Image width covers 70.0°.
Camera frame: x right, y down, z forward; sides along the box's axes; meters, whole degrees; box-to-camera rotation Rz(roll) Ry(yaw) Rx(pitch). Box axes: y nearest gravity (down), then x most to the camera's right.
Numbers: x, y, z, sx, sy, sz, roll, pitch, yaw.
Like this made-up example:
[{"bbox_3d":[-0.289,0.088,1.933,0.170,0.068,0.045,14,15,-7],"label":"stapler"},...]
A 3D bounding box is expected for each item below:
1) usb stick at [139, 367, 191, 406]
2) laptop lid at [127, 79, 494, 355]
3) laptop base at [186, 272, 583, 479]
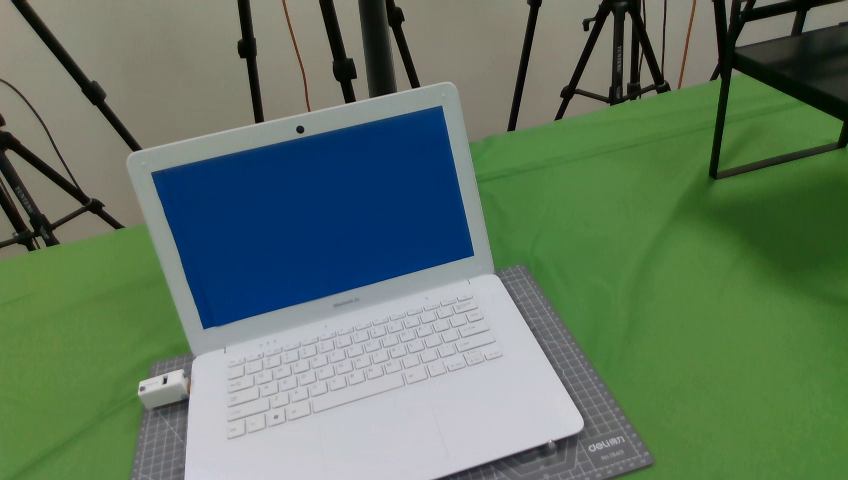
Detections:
[{"bbox_3d":[-0.259,0.150,0.626,0.059,0.027,0.021,-12,33,-9],"label":"usb stick"},{"bbox_3d":[-0.110,-0.024,0.665,0.357,0.243,0.013,-16,15,-8],"label":"laptop lid"},{"bbox_3d":[-0.054,0.149,0.600,0.355,0.023,0.233,-15,38,-8],"label":"laptop base"}]
